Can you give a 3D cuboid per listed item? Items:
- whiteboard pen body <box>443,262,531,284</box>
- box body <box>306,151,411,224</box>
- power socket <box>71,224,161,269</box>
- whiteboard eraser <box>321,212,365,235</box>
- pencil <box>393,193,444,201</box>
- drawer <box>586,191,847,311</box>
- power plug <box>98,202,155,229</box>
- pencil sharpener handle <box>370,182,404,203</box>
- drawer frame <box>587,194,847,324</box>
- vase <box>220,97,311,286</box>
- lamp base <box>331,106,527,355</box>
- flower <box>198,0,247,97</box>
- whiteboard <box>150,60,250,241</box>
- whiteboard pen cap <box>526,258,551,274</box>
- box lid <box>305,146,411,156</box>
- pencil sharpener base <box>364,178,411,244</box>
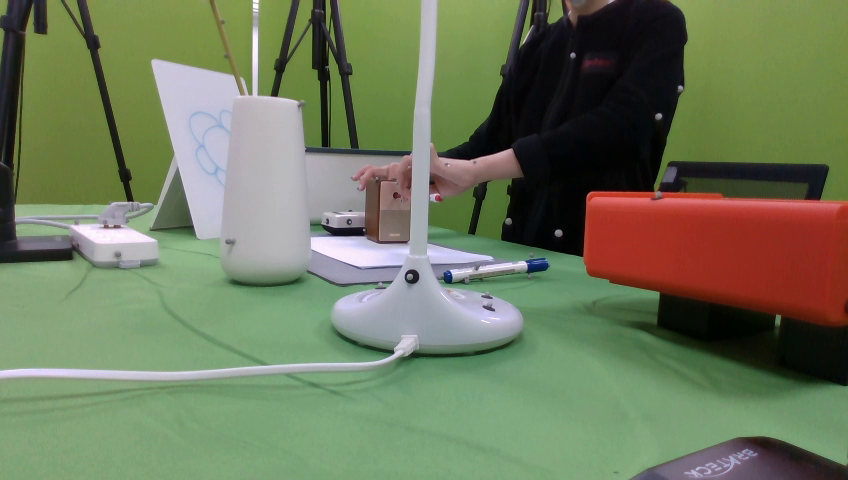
[{"bbox_3d":[0.087,0.038,0.733,0.141,0.017,0.017,-5,10,-27],"label":"whiteboard pen body"},{"bbox_3d":[-0.230,-0.126,1.371,0.366,0.160,0.253,-2,8,-33],"label":"box body"},{"bbox_3d":[-0.408,0.004,0.793,0.072,0.032,0.225,-2,8,-38],"label":"power socket"},{"bbox_3d":[-0.128,-0.031,1.108,0.113,0.042,0.055,-3,8,-38],"label":"whiteboard eraser"},{"bbox_3d":[-0.017,-0.067,0.931,0.012,0.012,0.193,-1,4,-26],"label":"pencil"},{"bbox_3d":[0.281,0.001,0.512,0.195,0.073,0.210,-1,8,-29],"label":"drawer"},{"bbox_3d":[-0.416,-0.027,0.848,0.073,0.052,0.035,0,8,-28],"label":"power plug"},{"bbox_3d":[-0.069,-0.081,1.080,0.068,0.036,0.030,19,-1,-26],"label":"pencil sharpener handle"},{"bbox_3d":[0.285,0.004,0.508,0.203,0.082,0.212,-1,6,-29],"label":"drawer frame"},{"bbox_3d":[-0.172,-0.052,0.662,0.098,0.200,0.098,3,9,0],"label":"vase"},{"bbox_3d":[0.006,-0.012,0.478,0.161,0.180,0.179,2,10,2],"label":"lamp base"},{"bbox_3d":[-0.187,-0.133,0.648,0.038,0.362,0.044,0,22,43],"label":"flower"},{"bbox_3d":[-0.408,-0.139,1.093,0.143,0.305,0.218,-15,-1,26],"label":"whiteboard"},{"bbox_3d":[0.141,0.033,0.759,0.033,0.018,0.018,-8,11,-26],"label":"whiteboard pen cap"},{"bbox_3d":[-0.229,-0.200,1.361,0.373,0.015,0.262,-3,9,-33],"label":"box lid"},{"bbox_3d":[-0.062,-0.051,1.031,0.061,0.107,0.076,-1,8,-25],"label":"pencil sharpener base"}]
